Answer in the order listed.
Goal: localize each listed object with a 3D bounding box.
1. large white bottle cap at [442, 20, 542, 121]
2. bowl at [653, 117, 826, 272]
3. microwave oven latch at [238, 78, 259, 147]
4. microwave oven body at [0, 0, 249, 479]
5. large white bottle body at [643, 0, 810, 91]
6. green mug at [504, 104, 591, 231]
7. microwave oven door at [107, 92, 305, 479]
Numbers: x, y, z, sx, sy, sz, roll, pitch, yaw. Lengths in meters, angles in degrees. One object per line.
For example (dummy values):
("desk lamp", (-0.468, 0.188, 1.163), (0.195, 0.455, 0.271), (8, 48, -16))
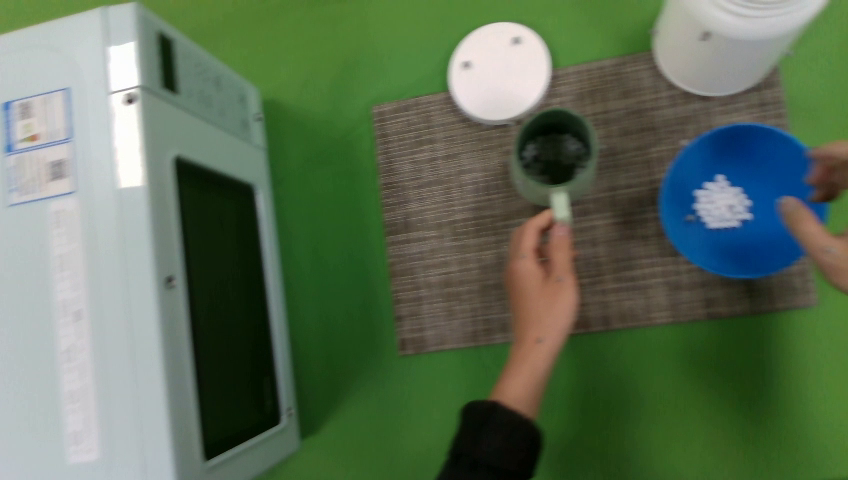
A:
("large white bottle cap", (0.077, -0.194, 0.694), (0.114, 0.018, 0.114), (-1, 85, 10))
("bowl", (0.305, -0.041, 0.613), (0.151, 0.077, 0.151), (-1, 86, 11))
("microwave oven latch", (-0.219, -0.150, 0.722), (0.030, 0.029, 0.079), (-10, 86, 9))
("microwave oven body", (-0.352, 0.043, 0.638), (0.325, 0.261, 0.440), (-10, 85, 9))
("large white bottle body", (0.286, -0.234, 0.573), (0.130, 0.185, 0.130), (-1, 82, 11))
("green mug", (0.132, -0.072, 0.633), (0.092, 0.105, 0.125), (-10, 84, 10))
("microwave oven door", (-0.205, 0.058, 0.605), (0.039, 0.244, 0.355), (-11, 85, 10))
